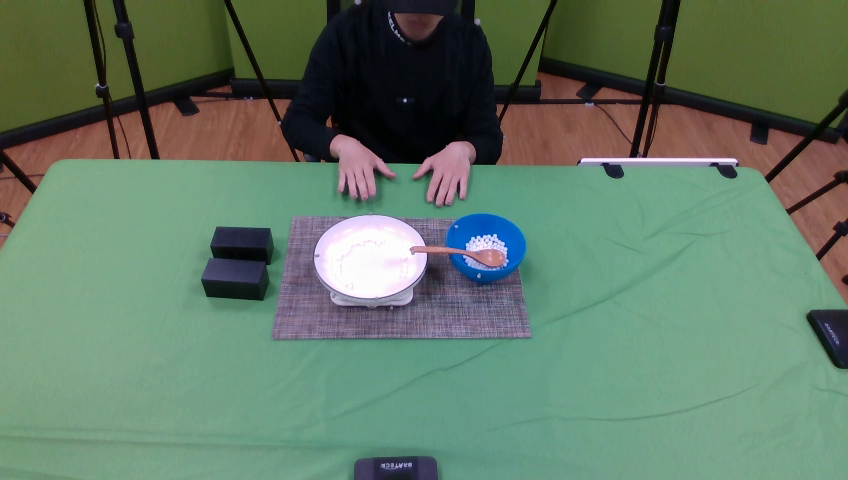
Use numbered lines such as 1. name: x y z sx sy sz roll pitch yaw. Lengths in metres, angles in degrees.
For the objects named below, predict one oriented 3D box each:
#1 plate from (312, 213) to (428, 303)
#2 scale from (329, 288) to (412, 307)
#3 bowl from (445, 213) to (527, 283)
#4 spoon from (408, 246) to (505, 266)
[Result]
1. plate: -0.097 0.036 1.100 0.209 0.038 0.208 2 46 -2
2. scale: -0.098 0.042 1.139 0.149 0.032 0.199 1 46 -4
3. bowl: 0.111 0.028 1.137 0.151 0.077 0.150 2 46 -2
4. spoon: 0.061 0.023 1.091 0.194 0.022 0.041 9 49 -27
